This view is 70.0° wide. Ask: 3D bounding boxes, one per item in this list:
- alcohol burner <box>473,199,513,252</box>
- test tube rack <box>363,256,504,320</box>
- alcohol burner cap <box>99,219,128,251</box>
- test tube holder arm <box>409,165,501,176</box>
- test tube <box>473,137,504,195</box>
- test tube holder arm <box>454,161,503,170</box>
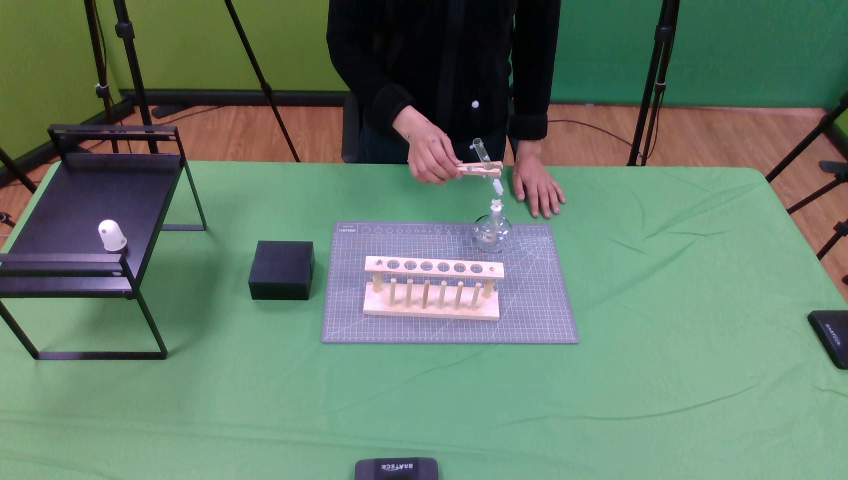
[{"bbox_3d":[0.135,-0.034,1.174,0.078,0.120,0.077,1,47,-1],"label":"alcohol burner"},{"bbox_3d":[0.015,0.085,1.069,0.242,0.085,0.066,3,45,-2],"label":"test tube rack"},{"bbox_3d":[-0.466,-0.010,0.907,0.034,0.048,0.033,1,47,-1],"label":"alcohol burner cap"},{"bbox_3d":[0.052,-0.125,1.079,0.178,0.015,0.013,4,55,27],"label":"test tube holder arm"},{"bbox_3d":[0.114,-0.125,1.050,0.017,0.151,0.017,-12,54,18],"label":"test tube"},{"bbox_3d":[0.094,-0.128,1.063,0.087,0.015,0.010,-2,53,23],"label":"test tube holder arm"}]
